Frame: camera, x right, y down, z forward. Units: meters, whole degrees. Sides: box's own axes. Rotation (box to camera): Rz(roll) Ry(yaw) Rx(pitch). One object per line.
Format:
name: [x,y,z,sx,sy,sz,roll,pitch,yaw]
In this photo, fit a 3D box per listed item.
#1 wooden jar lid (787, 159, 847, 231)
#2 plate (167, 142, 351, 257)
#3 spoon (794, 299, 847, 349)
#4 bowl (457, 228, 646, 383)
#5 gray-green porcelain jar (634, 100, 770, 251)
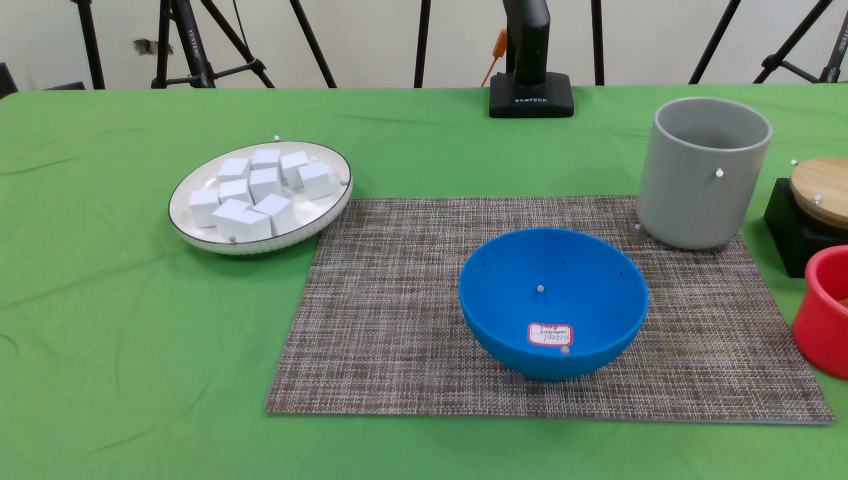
wooden jar lid: [0.411,-0.043,0.588,0.108,0.021,0.107,-3,39,3]
plate: [-0.187,-0.046,0.706,0.209,0.038,0.207,-3,39,3]
spoon: [0.390,0.029,0.484,0.022,0.194,0.041,35,26,-25]
bowl: [0.103,0.066,0.510,0.151,0.077,0.150,-2,39,2]
gray-green porcelain jar: [0.272,-0.061,0.611,0.106,0.127,0.105,-3,40,2]
